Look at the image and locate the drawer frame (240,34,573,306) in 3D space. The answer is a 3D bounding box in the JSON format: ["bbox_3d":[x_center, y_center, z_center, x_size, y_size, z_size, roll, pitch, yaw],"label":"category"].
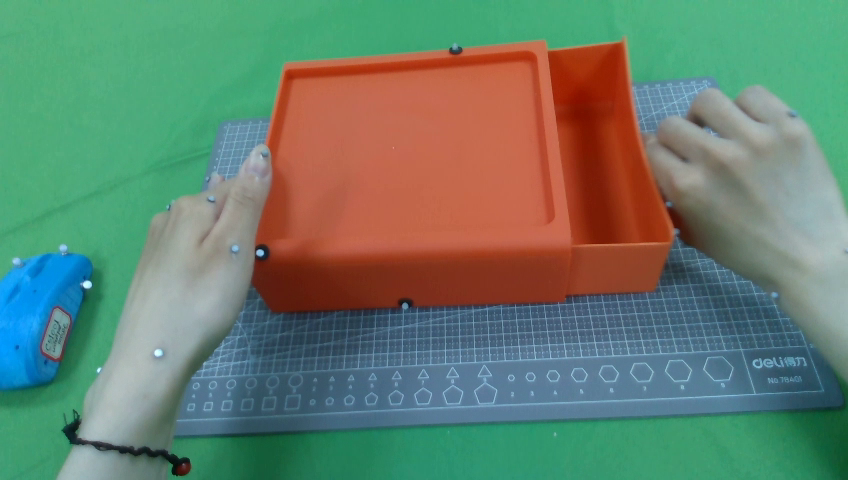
[{"bbox_3d":[-0.005,-0.054,0.454,0.213,0.083,0.199,-3,55,6],"label":"drawer frame"}]

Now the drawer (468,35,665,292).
[{"bbox_3d":[0.051,-0.057,0.451,0.211,0.074,0.192,-3,56,8],"label":"drawer"}]

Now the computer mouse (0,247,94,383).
[{"bbox_3d":[-0.298,0.051,0.454,0.063,0.041,0.116,-5,50,7],"label":"computer mouse"}]
